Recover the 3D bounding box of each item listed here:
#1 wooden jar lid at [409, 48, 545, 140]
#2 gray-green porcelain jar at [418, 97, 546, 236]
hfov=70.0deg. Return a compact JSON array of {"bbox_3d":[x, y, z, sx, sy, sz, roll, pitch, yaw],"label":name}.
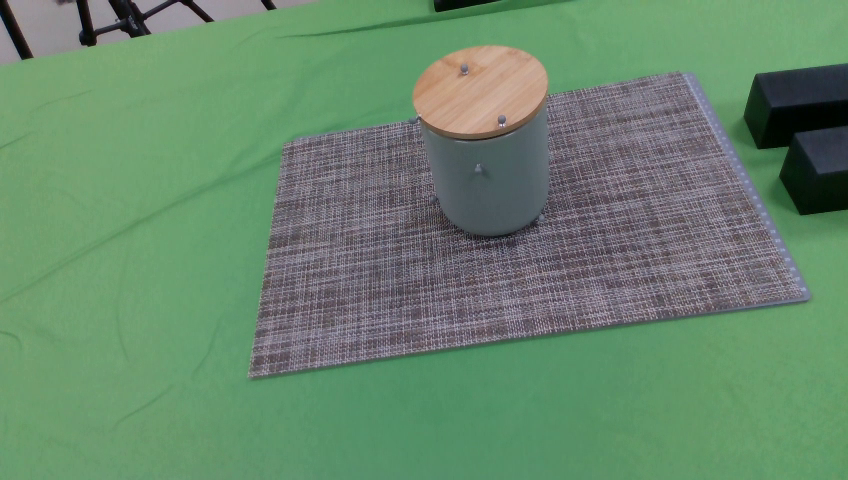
[{"bbox_3d":[0.043,-0.115,0.488,0.108,0.021,0.107,-6,53,8],"label":"wooden jar lid"},{"bbox_3d":[0.055,-0.074,0.536,0.106,0.128,0.105,-6,50,8],"label":"gray-green porcelain jar"}]
